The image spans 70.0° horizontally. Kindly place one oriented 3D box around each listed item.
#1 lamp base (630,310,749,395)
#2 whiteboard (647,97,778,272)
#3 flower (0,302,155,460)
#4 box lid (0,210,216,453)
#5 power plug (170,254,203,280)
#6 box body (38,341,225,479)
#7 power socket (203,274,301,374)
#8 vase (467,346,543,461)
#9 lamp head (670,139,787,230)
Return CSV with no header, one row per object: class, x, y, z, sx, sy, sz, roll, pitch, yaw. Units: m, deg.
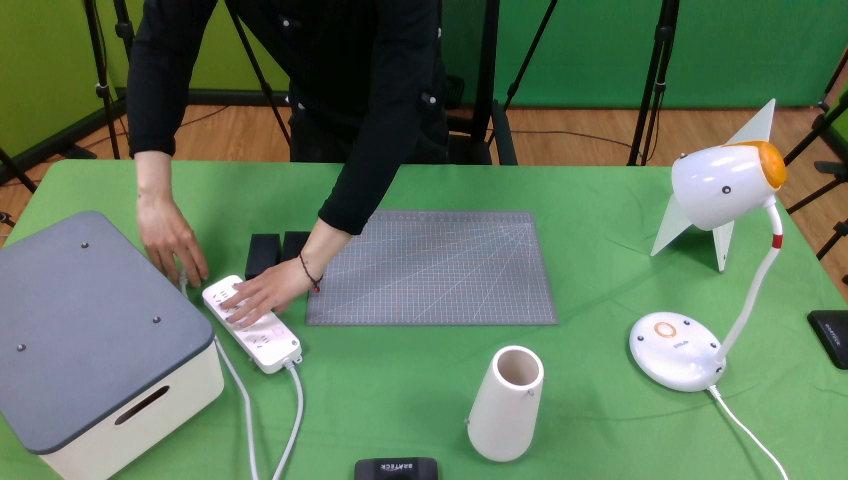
lamp base,0.447,0.142,0.984,0.161,0.181,0.178,-24,55,-24
whiteboard,0.602,-0.079,1.162,0.144,0.306,0.216,35,51,2
flower,-0.553,0.222,0.944,0.361,0.038,0.044,39,62,6
box lid,-0.504,0.102,0.863,0.369,0.015,0.263,35,53,26
power plug,-0.429,0.054,1.085,0.035,0.053,0.072,21,53,24
box body,-0.506,0.155,0.916,0.362,0.161,0.254,35,54,26
power socket,-0.297,0.140,1.036,0.072,0.033,0.225,-33,57,-29
vase,0.116,0.235,0.861,0.098,0.201,0.097,1,47,-1
lamp head,0.415,-0.079,0.812,0.113,0.123,0.112,12,70,-37
